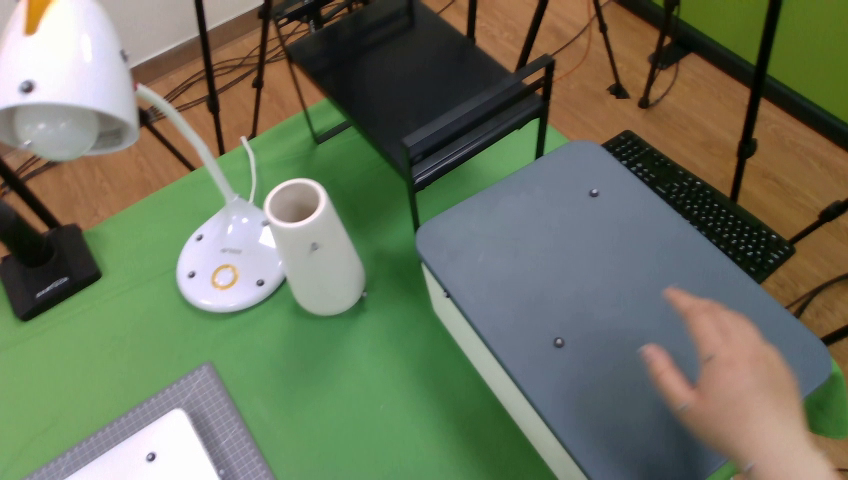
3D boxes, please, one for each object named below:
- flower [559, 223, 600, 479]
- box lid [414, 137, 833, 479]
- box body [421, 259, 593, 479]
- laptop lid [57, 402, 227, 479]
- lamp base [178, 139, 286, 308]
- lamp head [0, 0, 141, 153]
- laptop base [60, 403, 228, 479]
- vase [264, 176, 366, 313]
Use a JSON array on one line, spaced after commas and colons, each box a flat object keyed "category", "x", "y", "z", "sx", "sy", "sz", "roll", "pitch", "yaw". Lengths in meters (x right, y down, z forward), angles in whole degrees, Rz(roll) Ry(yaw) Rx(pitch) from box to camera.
[{"category": "flower", "x": 0.196, "y": 0.137, "z": 0.730, "sx": 0.044, "sy": 0.038, "sz": 0.358, "roll": -16, "pitch": 53, "yaw": 28}, {"category": "box lid", "x": 0.184, "y": 0.052, "z": 0.620, "sx": 0.263, "sy": 0.015, "sz": 0.367, "roll": -30, "pitch": 60, "yaw": -15}, {"category": "box body", "x": 0.191, "y": 0.094, "z": 0.682, "sx": 0.254, "sy": 0.162, "sz": 0.360, "roll": -31, "pitch": 60, "yaw": -14}, {"category": "laptop lid", "x": -0.363, "y": 0.360, "z": 0.630, "sx": 0.357, "sy": 0.013, "sz": 0.239, "roll": -32, "pitch": 62, "yaw": -15}, {"category": "lamp base", "x": -0.272, "y": -0.029, "z": 0.794, "sx": 0.160, "sy": 0.182, "sz": 0.177, "roll": -4, "pitch": 54, "yaw": 2}, {"category": "lamp head", "x": -0.300, "y": -0.144, "z": 0.512, "sx": 0.112, "sy": 0.113, "sz": 0.122, "roll": -7, "pitch": 74, "yaw": 1}, {"category": "laptop base", "x": -0.363, "y": 0.365, "z": 0.641, "sx": 0.354, "sy": 0.023, "sz": 0.233, "roll": -33, "pitch": 64, "yaw": -16}, {"category": "vase", "x": -0.134, "y": 0.009, "z": 0.745, "sx": 0.098, "sy": 0.202, "sz": 0.097, "roll": -3, "pitch": 56, "yaw": 5}]
